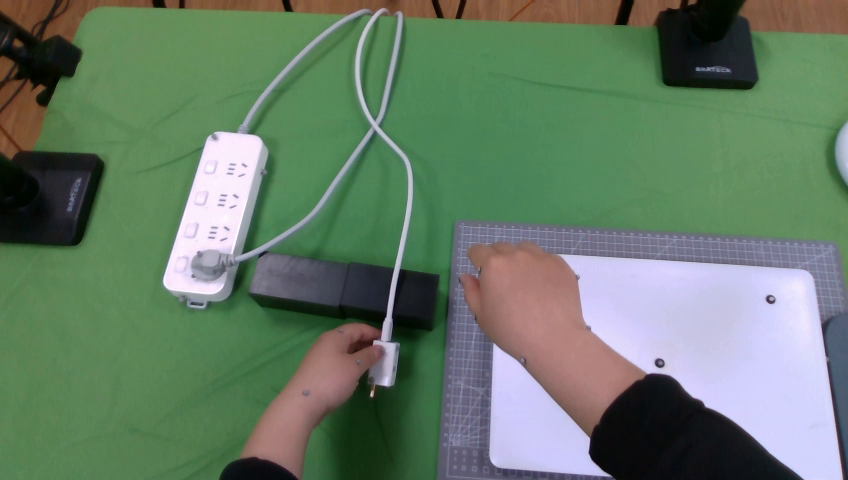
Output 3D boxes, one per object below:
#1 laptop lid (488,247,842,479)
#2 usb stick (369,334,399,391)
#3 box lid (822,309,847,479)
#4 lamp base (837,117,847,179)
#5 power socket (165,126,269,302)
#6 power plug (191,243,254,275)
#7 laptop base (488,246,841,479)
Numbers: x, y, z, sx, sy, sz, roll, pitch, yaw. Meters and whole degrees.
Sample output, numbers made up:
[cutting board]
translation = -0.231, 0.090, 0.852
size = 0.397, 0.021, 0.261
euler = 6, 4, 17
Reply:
[laptop lid]
translation = 0.248, 0.127, 0.643
size = 0.356, 0.013, 0.240
euler = 5, 71, 3
[usb stick]
translation = -0.043, 0.129, 0.631
size = 0.027, 0.021, 0.059
euler = 8, 91, 8
[box lid]
translation = 0.553, 0.251, 0.604
size = 0.263, 0.015, 0.369
euler = 4, 69, 1
[lamp base]
translation = 0.591, -0.139, 0.669
size = 0.160, 0.181, 0.179
euler = 36, 70, 14
[power socket]
translation = -0.243, -0.039, 0.721
size = 0.072, 0.033, 0.225
euler = 7, 68, 4
[power plug]
translation = -0.224, 0.027, 0.674
size = 0.072, 0.053, 0.035
euler = 18, 68, 7
[laptop base]
translation = 0.249, 0.129, 0.655
size = 0.354, 0.023, 0.234
euler = 4, 72, 3
